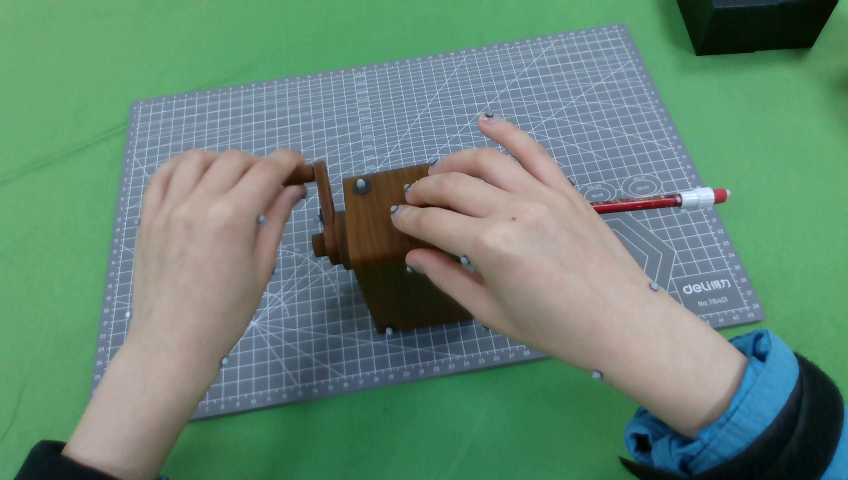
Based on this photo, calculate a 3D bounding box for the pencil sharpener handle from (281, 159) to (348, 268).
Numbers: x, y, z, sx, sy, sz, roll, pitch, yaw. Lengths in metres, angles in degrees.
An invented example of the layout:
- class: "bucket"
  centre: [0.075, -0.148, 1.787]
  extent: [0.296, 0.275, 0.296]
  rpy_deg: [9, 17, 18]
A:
- class: "pencil sharpener handle"
  centre: [-0.065, -0.014, 0.358]
  extent: [0.030, 0.036, 0.067]
  rpy_deg: [-10, 81, -1]

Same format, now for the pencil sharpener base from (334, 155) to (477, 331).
- class: "pencil sharpener base"
  centre: [-0.009, 0.007, 0.381]
  extent: [0.077, 0.108, 0.061]
  rpy_deg: [-10, 59, -1]

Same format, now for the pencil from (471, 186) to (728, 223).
- class: "pencil"
  centre: [0.086, -0.019, 0.363]
  extent: [0.194, 0.012, 0.012]
  rpy_deg: [-5, 59, -3]
